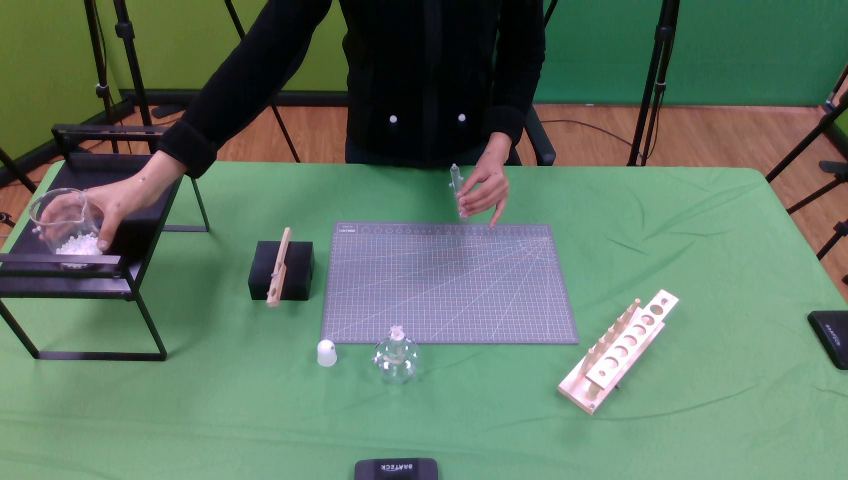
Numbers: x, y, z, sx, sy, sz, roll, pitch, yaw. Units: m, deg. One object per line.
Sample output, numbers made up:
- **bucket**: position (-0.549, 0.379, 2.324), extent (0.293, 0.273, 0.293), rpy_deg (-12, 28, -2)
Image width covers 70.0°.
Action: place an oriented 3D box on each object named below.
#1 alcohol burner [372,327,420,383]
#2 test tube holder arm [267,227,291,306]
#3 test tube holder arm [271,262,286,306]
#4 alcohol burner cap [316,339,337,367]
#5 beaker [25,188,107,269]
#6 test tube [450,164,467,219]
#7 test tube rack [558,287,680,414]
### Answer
- **alcohol burner**: position (-0.045, 0.175, 0.961), extent (0.078, 0.120, 0.077), rpy_deg (1, 47, -1)
- **test tube holder arm**: position (-0.255, 0.043, 1.070), extent (0.013, 0.015, 0.177), rpy_deg (-7, 46, 7)
- **test tube holder arm**: position (-0.249, 0.074, 1.038), extent (0.010, 0.015, 0.087), rpy_deg (-8, 46, 7)
- **alcohol burner cap**: position (-0.161, 0.182, 0.995), extent (0.034, 0.048, 0.033), rpy_deg (1, 47, -1)
- **beaker**: position (-0.504, -0.013, 0.868), extent (0.084, 0.101, 0.074), rpy_deg (23, 50, 17)
- **test tube**: position (0.063, -0.082, 1.078), extent (0.017, 0.151, 0.017), rpy_deg (-5, 57, 8)
- **test tube rack**: position (0.326, 0.170, 1.009), extent (0.066, 0.085, 0.242), rpy_deg (36, 54, 27)
